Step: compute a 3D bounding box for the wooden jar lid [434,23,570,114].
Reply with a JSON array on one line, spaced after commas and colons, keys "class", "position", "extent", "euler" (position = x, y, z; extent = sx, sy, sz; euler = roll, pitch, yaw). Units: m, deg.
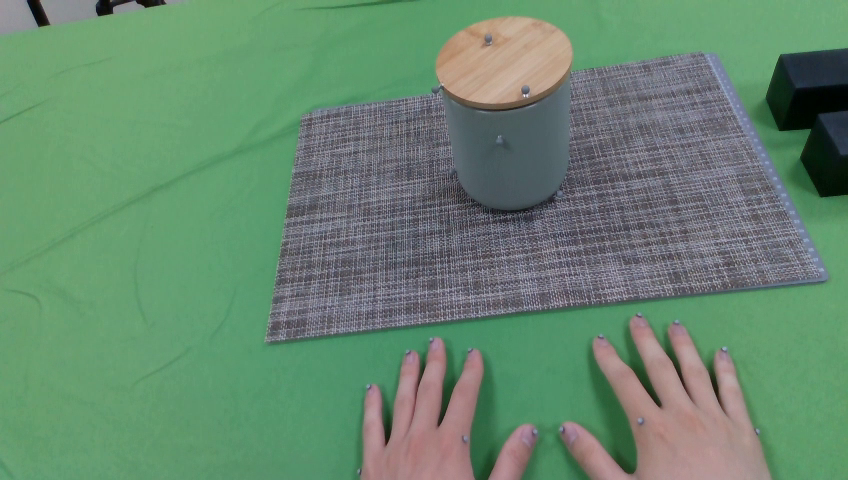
[{"class": "wooden jar lid", "position": [0.062, -0.135, 0.487], "extent": [0.108, 0.021, 0.107], "euler": [-5, 54, 8]}]

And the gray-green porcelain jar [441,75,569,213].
[{"class": "gray-green porcelain jar", "position": [0.074, -0.095, 0.536], "extent": [0.106, 0.128, 0.105], "euler": [-6, 50, 8]}]
